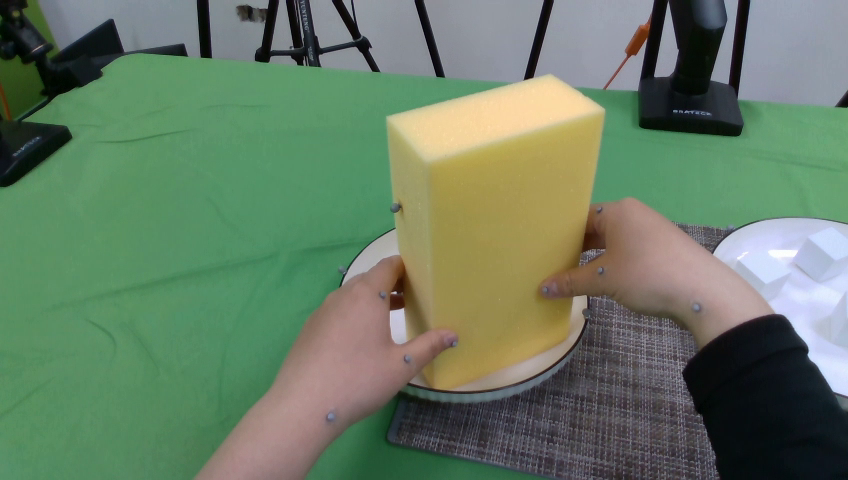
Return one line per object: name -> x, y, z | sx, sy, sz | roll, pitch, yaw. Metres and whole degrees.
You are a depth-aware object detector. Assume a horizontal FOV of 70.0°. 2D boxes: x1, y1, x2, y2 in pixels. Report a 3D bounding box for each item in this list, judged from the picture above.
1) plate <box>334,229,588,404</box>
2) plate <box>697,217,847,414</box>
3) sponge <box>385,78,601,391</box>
plate -> 0.031, 0.055, 0.512 | 0.209, 0.038, 0.207 | -1, 40, 1
plate -> 0.328, 0.060, 0.490 | 0.207, 0.039, 0.205 | -1, 41, 2
sponge -> 0.044, 0.005, 0.424 | 0.118, 0.209, 0.060 | -17, 42, -18
